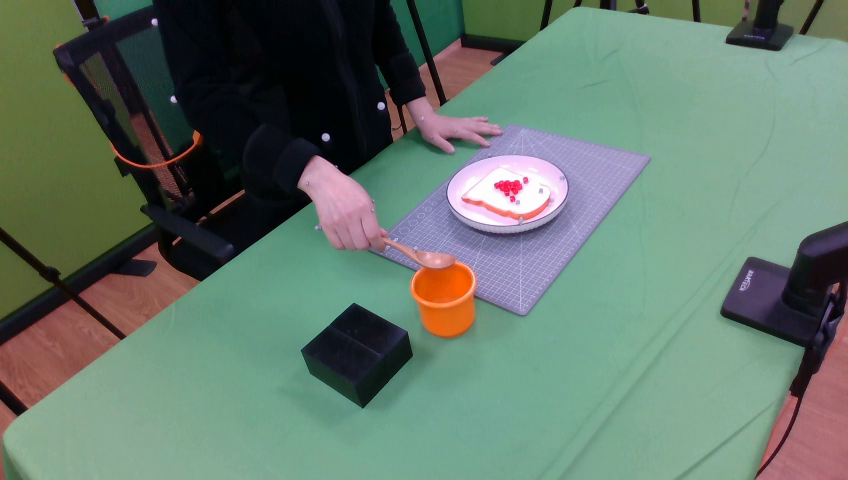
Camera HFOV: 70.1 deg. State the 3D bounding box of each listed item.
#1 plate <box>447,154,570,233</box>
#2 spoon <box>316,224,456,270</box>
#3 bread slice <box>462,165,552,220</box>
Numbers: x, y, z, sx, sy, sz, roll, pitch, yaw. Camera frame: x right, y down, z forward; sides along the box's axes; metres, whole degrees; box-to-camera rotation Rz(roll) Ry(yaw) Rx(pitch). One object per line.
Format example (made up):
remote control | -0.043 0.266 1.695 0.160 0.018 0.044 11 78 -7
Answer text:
plate | 0.143 -0.076 1.032 0.209 0.038 0.208 -5 40 5
spoon | -0.051 0.006 0.809 0.194 0.021 0.041 19 29 2
bread slice | 0.149 -0.080 1.036 0.133 0.018 0.107 22 50 31
